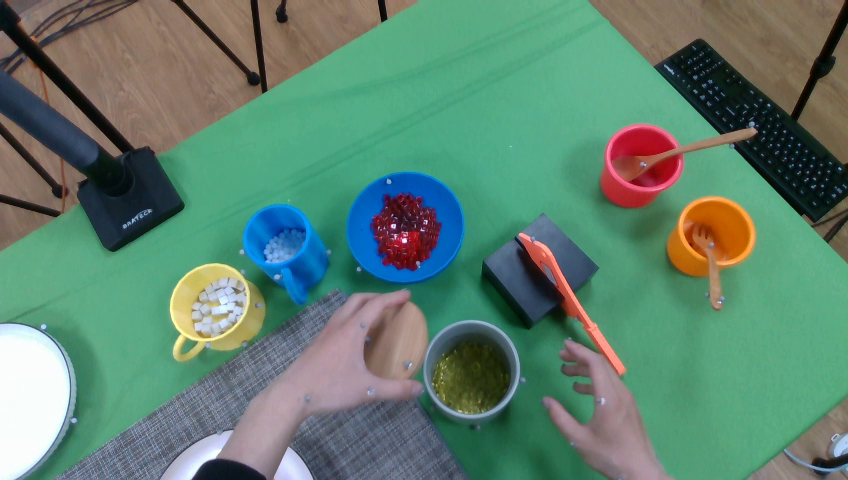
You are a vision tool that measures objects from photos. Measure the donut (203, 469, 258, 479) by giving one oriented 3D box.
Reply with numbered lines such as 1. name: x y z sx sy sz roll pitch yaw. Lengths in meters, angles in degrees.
1. donut: -0.220 0.308 0.676 0.099 0.048 0.098 0 70 0

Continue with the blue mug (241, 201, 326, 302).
1. blue mug: -0.173 0.022 0.772 0.082 0.106 0.115 -15 70 -2

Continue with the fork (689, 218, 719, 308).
1. fork: 0.336 0.022 0.721 0.028 0.019 0.206 27 30 5

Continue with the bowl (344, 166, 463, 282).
1. bowl: -0.023 -0.010 0.789 0.151 0.077 0.150 -1 71 3

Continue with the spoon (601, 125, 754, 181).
1. spoon: 0.315 -0.113 0.771 0.022 0.193 0.041 28 61 -35

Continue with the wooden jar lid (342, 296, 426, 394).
1. wooden jar lid: -0.040 0.111 0.638 0.108 0.021 0.107 -23 48 28

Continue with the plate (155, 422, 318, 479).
1. plate: -0.216 0.320 0.701 0.209 0.038 0.207 -1 71 3

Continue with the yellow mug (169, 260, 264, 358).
1. yellow mug: -0.272 0.095 0.773 0.099 0.064 0.130 31 76 13

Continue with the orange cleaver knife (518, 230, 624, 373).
1. orange cleaver knife: 0.179 0.075 0.747 0.012 0.077 0.212 -37 102 -9

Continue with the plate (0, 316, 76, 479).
1. plate: -0.538 0.201 0.764 0.207 0.039 0.206 -1 71 3

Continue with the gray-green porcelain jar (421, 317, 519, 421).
1. gray-green porcelain jar: 0.053 0.154 0.703 0.106 0.127 0.105 -1 70 3

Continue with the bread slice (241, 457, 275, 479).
1. bread slice: -0.228 0.327 0.703 0.131 0.019 0.104 -20 71 -8
